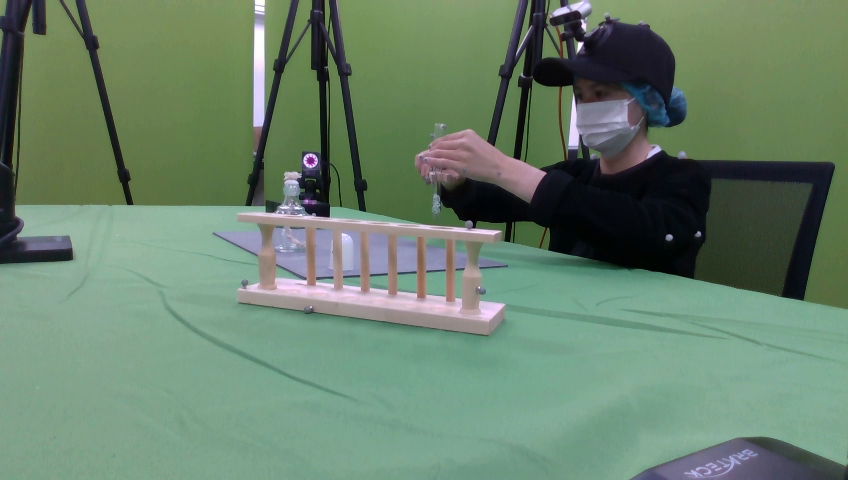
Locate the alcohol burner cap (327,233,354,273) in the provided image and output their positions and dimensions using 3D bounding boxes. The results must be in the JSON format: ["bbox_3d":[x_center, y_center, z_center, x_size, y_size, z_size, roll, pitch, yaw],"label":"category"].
[{"bbox_3d":[-0.104,0.016,0.751,0.034,0.048,0.034,3,6,0],"label":"alcohol burner cap"}]

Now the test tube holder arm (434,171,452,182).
[{"bbox_3d":[0.025,-0.109,1.029,0.010,0.015,0.087,1,10,-23],"label":"test tube holder arm"}]

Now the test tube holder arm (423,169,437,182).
[{"bbox_3d":[0.011,-0.116,1.070,0.013,0.015,0.178,5,9,-7],"label":"test tube holder arm"}]

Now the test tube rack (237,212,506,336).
[{"bbox_3d":[-0.049,0.024,0.552,0.242,0.085,0.067,5,8,18],"label":"test tube rack"}]

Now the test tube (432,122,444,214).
[{"bbox_3d":[0.023,-0.118,1.000,0.017,0.150,0.017,2,9,0],"label":"test tube"}]

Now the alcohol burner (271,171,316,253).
[{"bbox_3d":[-0.196,-0.041,0.884,0.078,0.119,0.078,3,5,0],"label":"alcohol burner"}]
